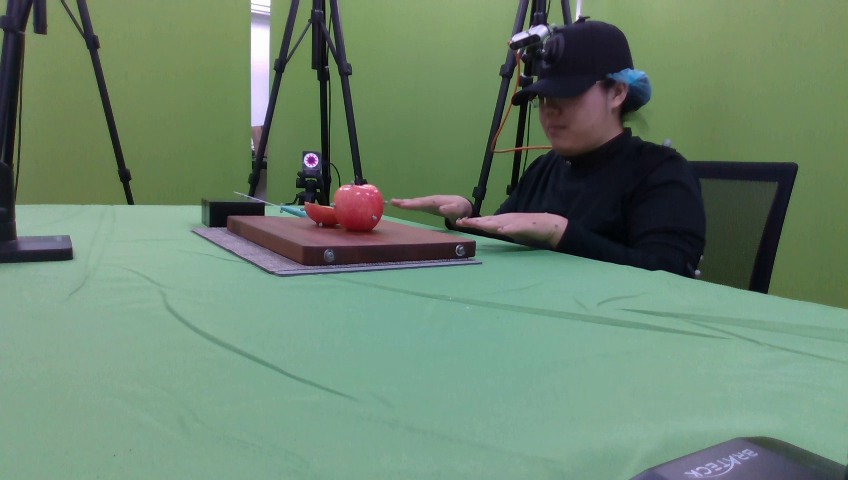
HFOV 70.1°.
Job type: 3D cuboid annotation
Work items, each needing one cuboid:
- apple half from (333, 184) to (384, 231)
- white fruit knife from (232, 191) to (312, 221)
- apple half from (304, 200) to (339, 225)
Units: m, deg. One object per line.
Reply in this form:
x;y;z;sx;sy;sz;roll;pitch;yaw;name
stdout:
-0.097;-0.050;0.949;0.081;0.074;0.053;1;11;-38;apple half
-0.286;-0.065;1.221;0.208;0.016;0.027;18;-1;-31;white fruit knife
-0.163;-0.040;1.000;0.081;0.033;0.081;15;-2;1;apple half
